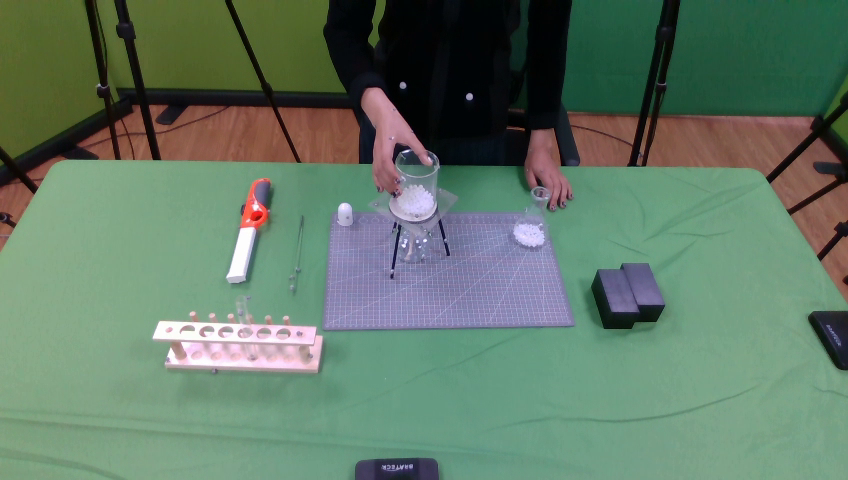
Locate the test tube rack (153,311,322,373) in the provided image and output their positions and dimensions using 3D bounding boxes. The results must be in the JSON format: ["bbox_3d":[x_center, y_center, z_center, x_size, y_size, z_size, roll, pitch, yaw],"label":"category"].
[{"bbox_3d":[-0.293,0.160,0.978,0.242,0.085,0.066,3,46,-2],"label":"test tube rack"}]

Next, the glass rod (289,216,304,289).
[{"bbox_3d":[-0.247,0.020,1.171,0.008,0.008,0.198,0,43,-3],"label":"glass rod"}]

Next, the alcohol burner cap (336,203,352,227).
[{"bbox_3d":[-0.162,-0.053,1.221,0.034,0.048,0.033,2,46,-2],"label":"alcohol burner cap"}]

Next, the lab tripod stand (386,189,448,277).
[{"bbox_3d":[-0.021,-0.018,1.135,0.148,0.132,0.147,3,44,-3],"label":"lab tripod stand"}]

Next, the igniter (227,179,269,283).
[{"bbox_3d":[-0.345,-0.027,1.195,0.057,0.025,0.274,-6,45,5],"label":"igniter"}]

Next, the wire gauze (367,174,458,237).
[{"bbox_3d":[-0.020,-0.067,1.089,0.124,0.011,0.121,27,49,21],"label":"wire gauze"}]

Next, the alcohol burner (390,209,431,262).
[{"bbox_3d":[-0.024,-0.014,1.144,0.078,0.119,0.077,4,45,-3],"label":"alcohol burner"}]

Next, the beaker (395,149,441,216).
[{"bbox_3d":[-0.016,-0.098,1.051,0.074,0.101,0.083,-32,57,-29],"label":"beaker"}]

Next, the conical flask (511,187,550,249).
[{"bbox_3d":[0.217,-0.048,1.190,0.075,0.122,0.075,2,46,-2],"label":"conical flask"}]

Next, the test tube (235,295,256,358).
[{"bbox_3d":[-0.274,0.136,0.933,0.017,0.151,0.017,4,46,-4],"label":"test tube"}]
